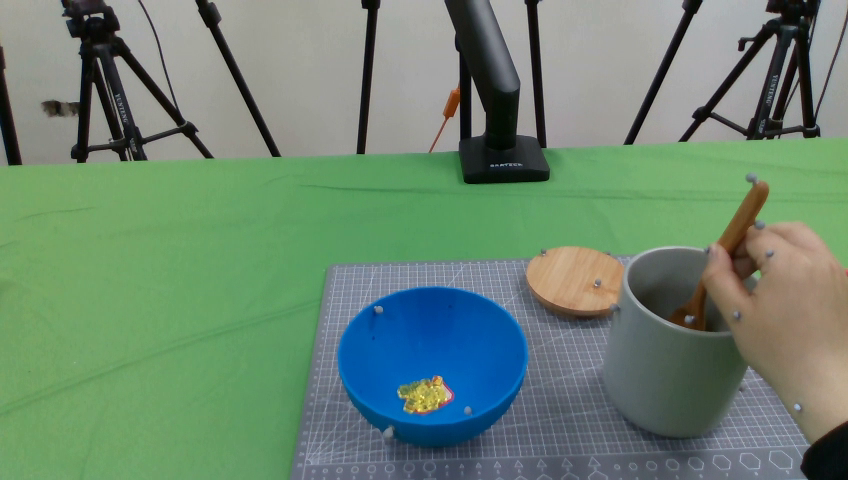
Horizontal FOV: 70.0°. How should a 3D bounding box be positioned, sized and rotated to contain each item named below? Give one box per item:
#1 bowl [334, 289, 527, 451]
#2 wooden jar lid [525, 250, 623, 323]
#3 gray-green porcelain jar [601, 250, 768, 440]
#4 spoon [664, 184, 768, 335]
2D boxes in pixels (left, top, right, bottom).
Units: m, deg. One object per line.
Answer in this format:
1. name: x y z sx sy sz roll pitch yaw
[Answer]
1. bowl: 0.006 0.117 0.496 0.151 0.077 0.150 -1 36 1
2. wooden jar lid: 0.160 0.049 0.638 0.108 0.021 0.107 -1 34 1
3. gray-green porcelain jar: 0.202 0.088 0.488 0.106 0.127 0.105 -1 36 1
4. spoon: 0.208 0.034 0.444 0.021 0.195 0.041 -11 50 -5
